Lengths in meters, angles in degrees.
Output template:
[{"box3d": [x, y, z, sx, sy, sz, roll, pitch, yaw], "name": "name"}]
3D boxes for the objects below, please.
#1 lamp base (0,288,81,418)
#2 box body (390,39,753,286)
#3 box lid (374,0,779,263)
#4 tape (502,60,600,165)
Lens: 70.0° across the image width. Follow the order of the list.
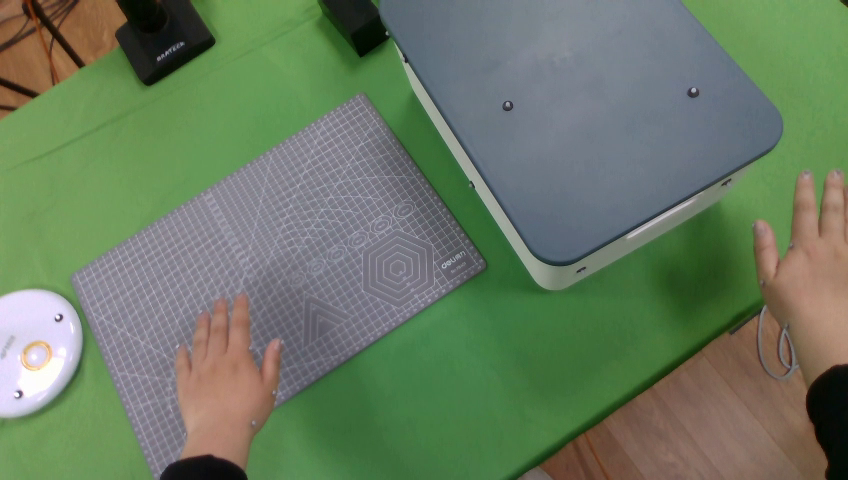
[{"box3d": [-0.524, 0.112, 0.679, 0.179, 0.181, 0.159, 3, 72, 13], "name": "lamp base"}, {"box3d": [0.146, -0.158, 0.673, 0.254, 0.161, 0.361, -30, 70, -2], "name": "box body"}, {"box3d": [0.134, -0.184, 0.605, 0.263, 0.015, 0.368, -30, 71, -2], "name": "box lid"}, {"box3d": [0.150, -0.152, 0.723, 0.117, 0.053, 0.116, -2, 71, 8], "name": "tape"}]
